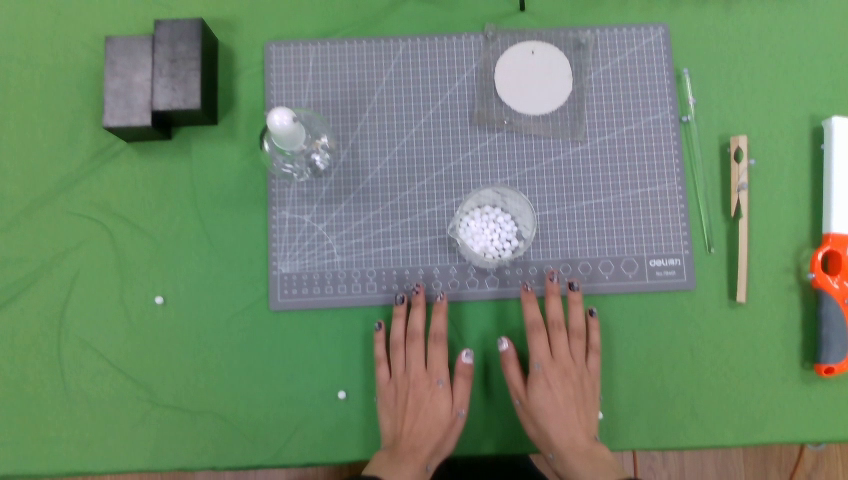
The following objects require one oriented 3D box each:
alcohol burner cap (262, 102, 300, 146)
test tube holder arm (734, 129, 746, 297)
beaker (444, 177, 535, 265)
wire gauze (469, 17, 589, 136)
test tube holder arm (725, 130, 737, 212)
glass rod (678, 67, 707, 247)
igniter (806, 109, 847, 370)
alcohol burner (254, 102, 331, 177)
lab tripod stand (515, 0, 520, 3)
[{"bbox_3d":[-0.135,-0.111,0.565,0.034,0.048,0.033,1,79,-4],"label":"alcohol burner cap"},{"bbox_3d":[0.335,-0.029,0.643,0.013,0.015,0.178,-4,82,34],"label":"test tube holder arm"},{"bbox_3d":[0.061,-0.013,0.599,0.084,0.100,0.074,-11,82,-1],"label":"beaker"},{"bbox_3d":[0.116,-0.182,0.664,0.125,0.011,0.121,8,84,0],"label":"wire gauze"},{"bbox_3d":[0.331,-0.073,0.651,0.010,0.015,0.087,-3,83,35],"label":"test tube holder arm"},{"bbox_3d":[0.292,-0.091,0.657,0.008,0.008,0.199,-5,86,-1],"label":"glass rod"},{"bbox_3d":[0.430,-0.001,0.637,0.057,0.025,0.275,7,84,-10],"label":"igniter"},{"bbox_3d":[-0.135,-0.104,0.601,0.078,0.119,0.077,0,82,2],"label":"alcohol burner"},{"bbox_3d":[0.046,-0.314,0.619,0.148,0.131,0.148,0,85,0],"label":"lab tripod stand"}]
